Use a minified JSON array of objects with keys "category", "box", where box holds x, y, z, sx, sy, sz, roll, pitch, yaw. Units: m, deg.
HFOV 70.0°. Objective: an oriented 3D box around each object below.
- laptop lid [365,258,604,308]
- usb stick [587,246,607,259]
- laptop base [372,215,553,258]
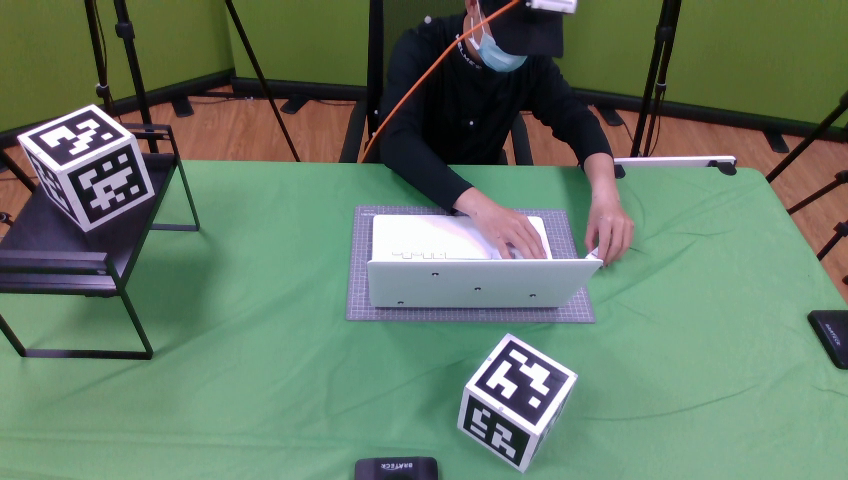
[{"category":"laptop lid","box":[0.085,0.074,0.978,0.357,0.242,0.013,1,67,-5]},{"category":"usb stick","box":[0.329,0.039,1.172,0.021,0.027,0.059,36,56,27]},{"category":"laptop base","box":[0.075,0.037,1.167,0.355,0.023,0.234,0,43,-4]}]
